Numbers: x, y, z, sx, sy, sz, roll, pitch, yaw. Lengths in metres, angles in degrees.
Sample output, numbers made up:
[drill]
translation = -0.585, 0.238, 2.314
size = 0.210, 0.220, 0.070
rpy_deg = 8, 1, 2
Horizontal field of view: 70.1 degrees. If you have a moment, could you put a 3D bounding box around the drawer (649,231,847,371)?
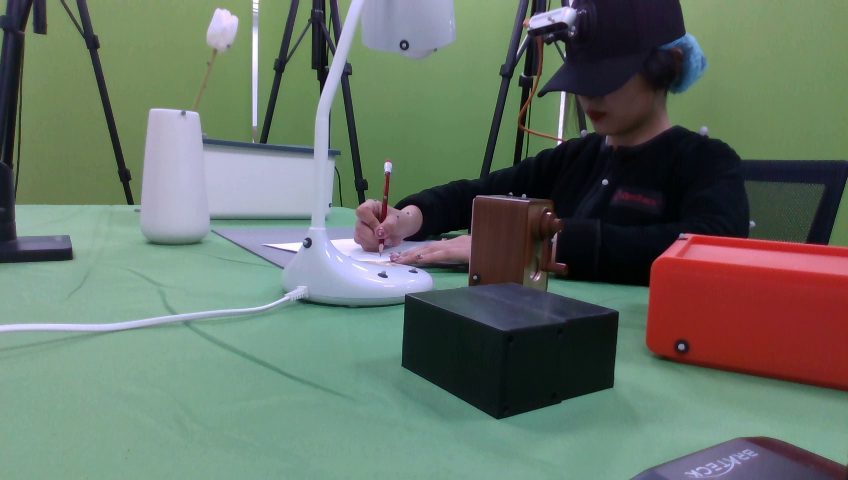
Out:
[drawer]
translation = 0.303, 0.043, 0.499
size = 0.194, 0.073, 0.212
rpy_deg = 7, 9, 27

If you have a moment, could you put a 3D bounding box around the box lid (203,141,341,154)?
[box lid]
translation = -0.396, -0.212, 1.373
size = 0.373, 0.015, 0.262
rpy_deg = -1, 9, -29

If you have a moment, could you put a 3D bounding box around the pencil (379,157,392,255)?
[pencil]
translation = -0.059, -0.055, 0.920
size = 0.012, 0.012, 0.193
rpy_deg = 1, 52, 1

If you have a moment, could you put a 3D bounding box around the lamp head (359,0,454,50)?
[lamp head]
translation = -0.024, -0.282, 0.674
size = 0.112, 0.123, 0.112
rpy_deg = -3, 38, 3

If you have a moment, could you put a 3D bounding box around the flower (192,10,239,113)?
[flower]
translation = -0.354, -0.174, 0.915
size = 0.038, 0.361, 0.044
rpy_deg = 18, -3, 12

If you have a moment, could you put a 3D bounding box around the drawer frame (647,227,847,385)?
[drawer frame]
translation = 0.303, 0.043, 0.495
size = 0.201, 0.082, 0.214
rpy_deg = 6, 9, 26

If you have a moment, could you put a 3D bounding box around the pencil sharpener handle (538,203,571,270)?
[pencil sharpener handle]
translation = 0.137, -0.003, 0.619
size = 0.030, 0.067, 0.036
rpy_deg = 8, 7, 38

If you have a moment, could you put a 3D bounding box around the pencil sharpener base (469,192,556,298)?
[pencil sharpener base]
translation = 0.097, 0.003, 0.652
size = 0.076, 0.107, 0.061
rpy_deg = 8, 9, 38

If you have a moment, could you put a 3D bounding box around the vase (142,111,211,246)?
[vase]
translation = -0.378, -0.093, 0.920
size = 0.098, 0.200, 0.098
rpy_deg = 2, 9, 0

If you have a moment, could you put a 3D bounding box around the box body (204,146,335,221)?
[box body]
translation = -0.411, -0.135, 1.386
size = 0.366, 0.160, 0.253
rpy_deg = -2, 9, -29

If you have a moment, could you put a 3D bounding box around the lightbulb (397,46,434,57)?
[lightbulb]
translation = -0.017, -0.264, 0.692
size = 0.059, 0.108, 0.059
rpy_deg = -9, 28, 5

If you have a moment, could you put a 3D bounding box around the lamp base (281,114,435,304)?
[lamp base]
translation = -0.071, -0.034, 0.614
size = 0.160, 0.180, 0.180
rpy_deg = 6, 10, 27
